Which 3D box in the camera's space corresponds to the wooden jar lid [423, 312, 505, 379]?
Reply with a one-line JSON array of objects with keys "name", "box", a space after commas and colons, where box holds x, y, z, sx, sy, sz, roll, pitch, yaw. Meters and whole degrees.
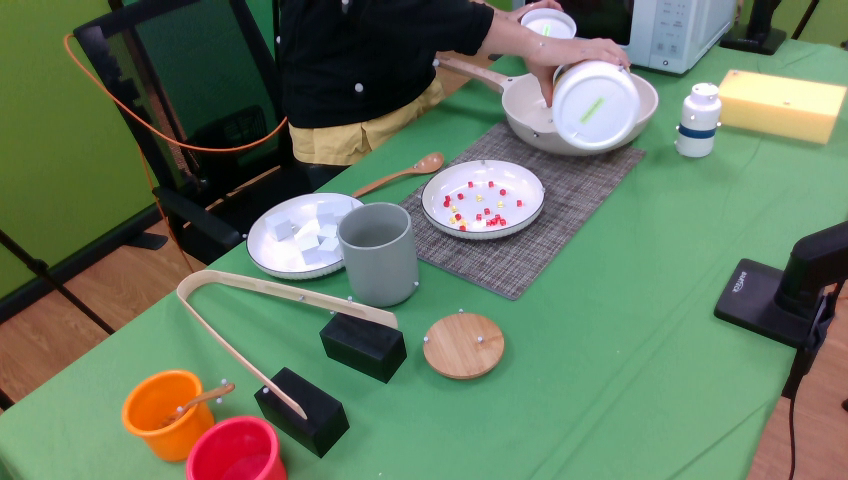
[{"name": "wooden jar lid", "box": [0.053, 0.142, 0.800, 0.108, 0.021, 0.108, -5, 39, 4]}]

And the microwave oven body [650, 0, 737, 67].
[{"name": "microwave oven body", "box": [0.475, -0.602, 1.411, 0.438, 0.261, 0.327, 23, 50, 32]}]

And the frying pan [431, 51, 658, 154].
[{"name": "frying pan", "box": [0.216, -0.302, 1.223, 0.484, 0.103, 0.308, 29, 50, 24]}]

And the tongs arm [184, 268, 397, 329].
[{"name": "tongs arm", "box": [-0.203, 0.084, 0.847, 0.382, 0.027, 0.051, 11, 44, 34]}]

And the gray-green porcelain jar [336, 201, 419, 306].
[{"name": "gray-green porcelain jar", "box": [-0.064, 0.024, 0.872, 0.106, 0.127, 0.105, -4, 41, 4]}]

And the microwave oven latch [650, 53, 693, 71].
[{"name": "microwave oven latch", "box": [0.531, -0.386, 1.301, 0.078, 0.029, 0.030, 26, 51, 33]}]

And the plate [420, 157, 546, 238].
[{"name": "plate", "box": [0.099, -0.067, 1.017, 0.209, 0.038, 0.208, -4, 40, 4]}]

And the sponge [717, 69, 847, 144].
[{"name": "sponge", "box": [0.663, -0.256, 1.141, 0.205, 0.061, 0.118, 19, 47, 27]}]

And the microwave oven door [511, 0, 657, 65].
[{"name": "microwave oven door", "box": [0.352, -0.542, 1.350, 0.353, 0.245, 0.039, 24, 52, 31]}]

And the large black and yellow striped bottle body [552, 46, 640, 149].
[{"name": "large black and yellow striped bottle body", "box": [0.277, -0.240, 0.992, 0.130, 0.131, 0.183, 2, 31, 11]}]

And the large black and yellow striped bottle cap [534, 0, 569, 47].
[{"name": "large black and yellow striped bottle cap", "box": [0.265, -0.455, 1.258, 0.019, 0.116, 0.114, -32, 39, 15]}]

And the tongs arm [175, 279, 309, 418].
[{"name": "tongs arm", "box": [-0.255, 0.132, 0.800, 0.028, 0.028, 0.384, -41, 40, -23]}]

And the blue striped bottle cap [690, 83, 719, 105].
[{"name": "blue striped bottle cap", "box": [0.481, -0.251, 1.038, 0.044, 0.021, 0.044, -5, 40, 5]}]

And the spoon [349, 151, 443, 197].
[{"name": "spoon", "box": [-0.051, -0.122, 1.120, 0.194, 0.022, 0.041, -23, 59, -18]}]

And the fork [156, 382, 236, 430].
[{"name": "fork", "box": [-0.262, 0.189, 0.690, 0.018, 0.206, 0.028, 48, 43, -7]}]

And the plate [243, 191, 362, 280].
[{"name": "plate", "box": [-0.187, -0.005, 0.992, 0.207, 0.039, 0.206, -4, 40, 4]}]

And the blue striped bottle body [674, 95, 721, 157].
[{"name": "blue striped bottle body", "box": [0.486, -0.213, 1.072, 0.063, 0.121, 0.063, -4, 41, 4]}]
